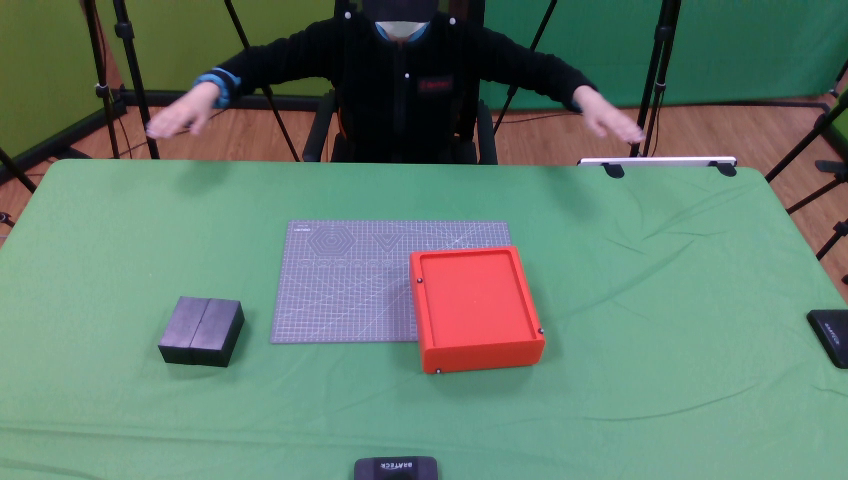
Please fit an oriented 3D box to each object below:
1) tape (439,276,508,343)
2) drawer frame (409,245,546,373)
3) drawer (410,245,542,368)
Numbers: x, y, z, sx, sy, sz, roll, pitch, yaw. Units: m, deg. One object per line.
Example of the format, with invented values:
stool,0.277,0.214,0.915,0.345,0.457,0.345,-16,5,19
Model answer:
tape,0.084,0.119,1.052,0.117,0.053,0.116,2,45,-2
drawer frame,0.084,0.113,1.049,0.202,0.083,0.212,-4,47,-8
drawer,0.083,0.111,1.051,0.195,0.073,0.210,-3,47,-8
